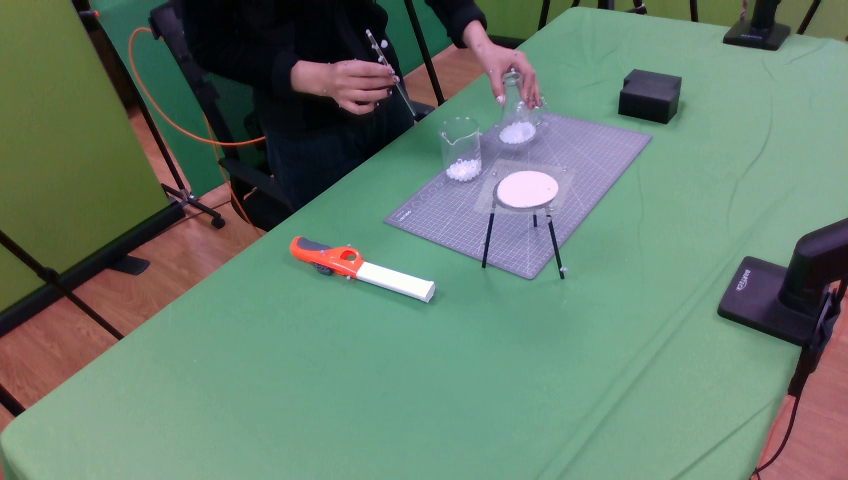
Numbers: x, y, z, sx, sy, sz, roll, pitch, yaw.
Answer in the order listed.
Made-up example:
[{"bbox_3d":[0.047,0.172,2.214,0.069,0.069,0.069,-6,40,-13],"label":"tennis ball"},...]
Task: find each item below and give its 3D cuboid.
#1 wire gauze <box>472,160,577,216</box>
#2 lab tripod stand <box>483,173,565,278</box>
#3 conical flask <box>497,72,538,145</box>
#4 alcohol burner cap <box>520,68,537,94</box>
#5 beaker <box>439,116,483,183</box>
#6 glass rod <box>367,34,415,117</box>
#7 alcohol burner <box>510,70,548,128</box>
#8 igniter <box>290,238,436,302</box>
[{"bbox_3d":[0.143,-0.073,0.850,0.121,0.011,0.125,8,43,22],"label":"wire gauze"},{"bbox_3d":[0.151,-0.025,0.896,0.148,0.132,0.147,-7,40,6],"label":"lab tripod stand"},{"bbox_3d":[0.164,-0.238,1.095,0.075,0.122,0.075,-8,40,7],"label":"conical flask"},{"bbox_3d":[0.205,-0.313,1.183,0.034,0.048,0.033,-3,49,4],"label":"alcohol burner cap"},{"bbox_3d":[0.068,-0.160,1.097,0.073,0.101,0.084,7,43,19],"label":"beaker"},{"bbox_3d":[-0.053,-0.277,1.036,0.008,0.201,0.008,-10,58,17],"label":"glass rod"},{"bbox_3d":[0.209,-0.287,1.208,0.078,0.119,0.077,-5,42,5],"label":"alcohol burner"},{"bbox_3d":[-0.106,0.043,0.949,0.274,0.025,0.057,16,57,27],"label":"igniter"}]
